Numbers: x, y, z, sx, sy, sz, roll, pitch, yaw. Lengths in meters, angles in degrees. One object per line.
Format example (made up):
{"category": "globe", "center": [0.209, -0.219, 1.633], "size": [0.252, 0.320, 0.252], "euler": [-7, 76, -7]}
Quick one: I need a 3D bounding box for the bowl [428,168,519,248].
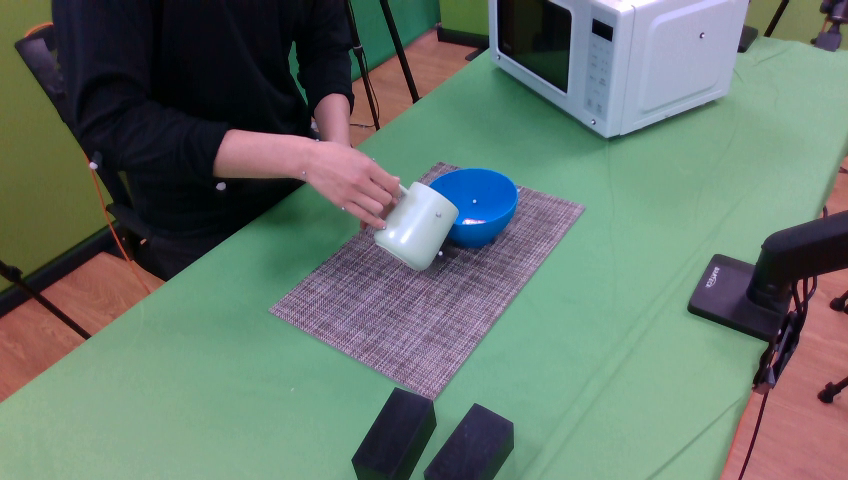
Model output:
{"category": "bowl", "center": [0.076, -0.041, 0.959], "size": [0.151, 0.077, 0.150], "euler": [-4, 40, 4]}

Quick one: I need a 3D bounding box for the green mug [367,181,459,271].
{"category": "green mug", "center": [-0.023, -0.027, 0.845], "size": [0.105, 0.126, 0.092], "euler": [-56, 26, -5]}

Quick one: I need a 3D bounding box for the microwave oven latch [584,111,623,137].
{"category": "microwave oven latch", "center": [0.337, -0.222, 1.142], "size": [0.030, 0.029, 0.078], "euler": [-21, 42, -14]}

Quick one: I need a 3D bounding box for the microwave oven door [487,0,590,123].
{"category": "microwave oven door", "center": [0.232, -0.420, 1.231], "size": [0.039, 0.245, 0.352], "euler": [-22, 43, -16]}

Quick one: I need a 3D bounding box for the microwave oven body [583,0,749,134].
{"category": "microwave oven body", "center": [0.382, -0.445, 1.246], "size": [0.327, 0.261, 0.437], "euler": [-22, 42, -16]}
